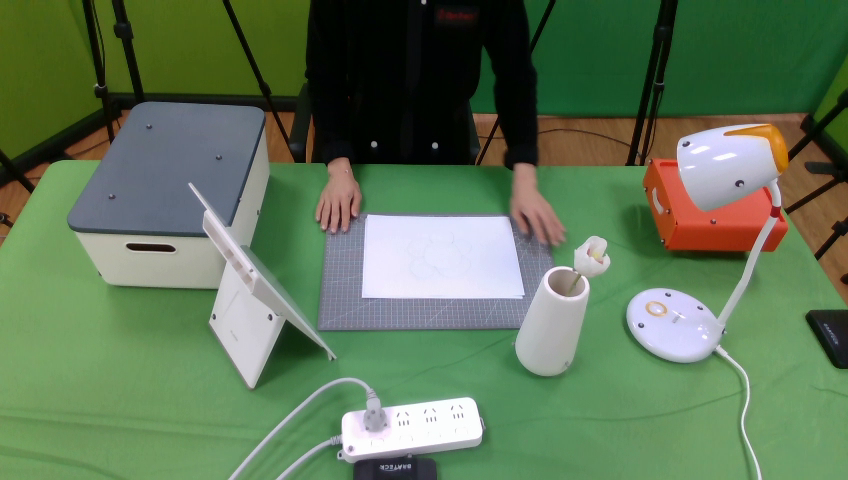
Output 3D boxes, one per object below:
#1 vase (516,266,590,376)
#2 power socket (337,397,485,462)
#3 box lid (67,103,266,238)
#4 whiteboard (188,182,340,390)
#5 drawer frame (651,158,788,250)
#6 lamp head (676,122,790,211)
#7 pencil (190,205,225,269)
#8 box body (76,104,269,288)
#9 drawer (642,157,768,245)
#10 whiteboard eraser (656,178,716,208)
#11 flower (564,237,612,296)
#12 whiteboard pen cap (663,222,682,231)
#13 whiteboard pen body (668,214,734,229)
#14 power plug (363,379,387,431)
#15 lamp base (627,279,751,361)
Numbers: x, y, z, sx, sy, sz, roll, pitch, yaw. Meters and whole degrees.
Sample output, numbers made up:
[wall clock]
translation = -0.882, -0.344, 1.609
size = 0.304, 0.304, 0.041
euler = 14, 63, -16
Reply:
[vase]
translation = 0.208, 0.132, 0.964
size = 0.098, 0.201, 0.097
euler = 3, 46, -3
[power socket]
translation = -0.018, 0.285, 0.915
size = 0.227, 0.033, 0.071
euler = -5, 46, -8
[box lid]
translation = -0.447, -0.137, 1.094
size = 0.263, 0.015, 0.369
euler = 2, 45, -2
[whiteboard]
translation = -0.292, 0.096, 0.929
size = 0.144, 0.307, 0.216
euler = -38, 57, -11
[drawer frame]
translation = 0.571, -0.074, 1.213
size = 0.214, 0.083, 0.200
euler = 1, 46, 0
[lamp head]
translation = 0.423, -0.104, 0.819
size = 0.122, 0.113, 0.112
euler = -13, 33, 40
[pencil]
translation = -0.417, -0.012, 1.182
size = 0.012, 0.012, 0.193
euler = 5, 40, 0
[box body]
translation = -0.450, -0.087, 1.149
size = 0.254, 0.161, 0.361
euler = 2, 46, -2
[drawer]
translation = 0.564, -0.075, 1.210
size = 0.212, 0.073, 0.193
euler = 3, 45, -1
[whiteboard eraser]
translation = 0.538, -0.095, 1.251
size = 0.113, 0.042, 0.055
euler = 4, 52, -10
[flower]
translation = 0.206, 0.088, 0.892
size = 0.038, 0.363, 0.044
euler = -16, 67, -9
[whiteboard pen cap]
translation = 0.487, -0.027, 1.188
size = 0.033, 0.018, 0.018
euler = 0, 46, -14
[whiteboard pen body]
translation = 0.547, -0.035, 1.200
size = 0.141, 0.017, 0.017
euler = -8, 48, -9
[power plug]
translation = -0.072, 0.252, 0.910
size = 0.035, 0.053, 0.072
euler = 3, 45, -1
[lamp base]
translation = 0.459, 0.100, 1.027
size = 0.178, 0.181, 0.160
euler = 27, 51, 17
